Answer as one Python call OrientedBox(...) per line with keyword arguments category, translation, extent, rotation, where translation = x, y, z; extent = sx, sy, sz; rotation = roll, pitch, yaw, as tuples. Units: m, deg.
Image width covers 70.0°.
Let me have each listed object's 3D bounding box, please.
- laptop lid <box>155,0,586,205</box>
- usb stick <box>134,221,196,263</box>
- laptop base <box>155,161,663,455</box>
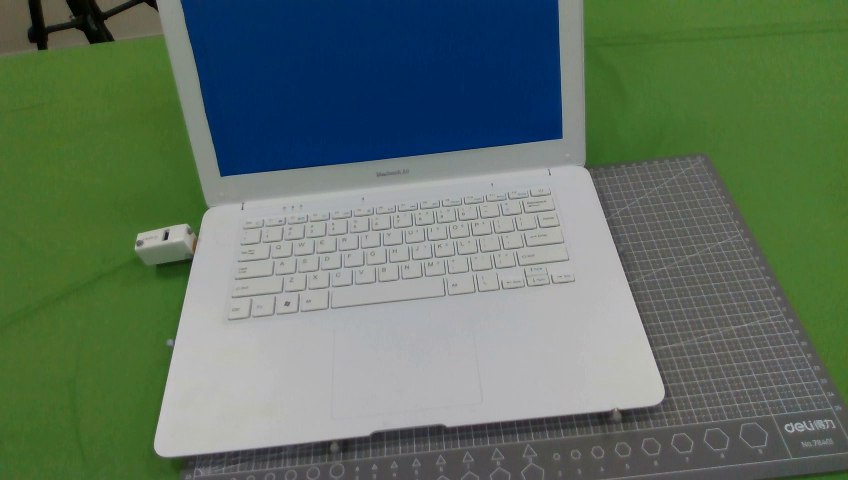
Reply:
OrientedBox(category="laptop lid", translation=(-0.040, -0.156, 0.520), extent=(0.357, 0.243, 0.013), rotation=(-8, 20, 1))
OrientedBox(category="usb stick", translation=(-0.217, 0.001, 0.528), extent=(0.059, 0.027, 0.021), rotation=(-9, 49, 0))
OrientedBox(category="laptop base", translation=(-0.019, 0.041, 0.486), extent=(0.354, 0.023, 0.233), rotation=(-7, 53, 1))
